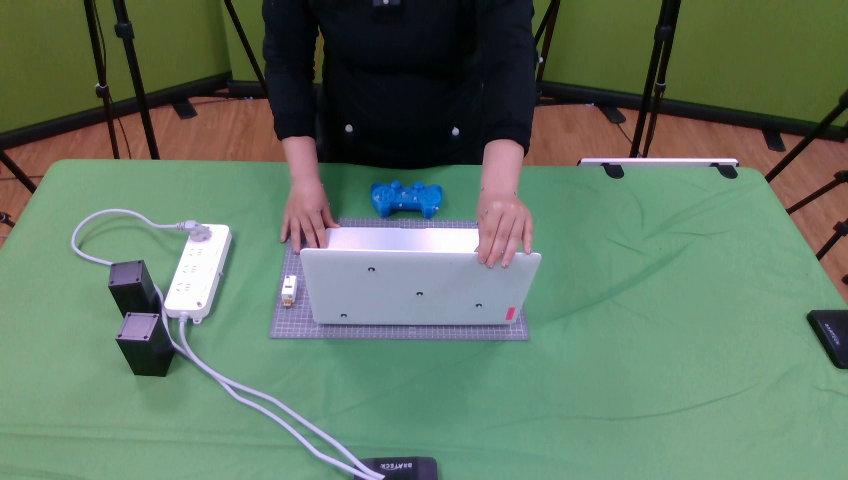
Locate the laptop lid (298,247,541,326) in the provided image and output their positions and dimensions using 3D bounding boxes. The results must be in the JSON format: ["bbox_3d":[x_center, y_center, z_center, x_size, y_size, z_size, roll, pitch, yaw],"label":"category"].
[{"bbox_3d":[-0.010,0.080,0.956,0.357,0.243,0.013,2,55,-5],"label":"laptop lid"}]

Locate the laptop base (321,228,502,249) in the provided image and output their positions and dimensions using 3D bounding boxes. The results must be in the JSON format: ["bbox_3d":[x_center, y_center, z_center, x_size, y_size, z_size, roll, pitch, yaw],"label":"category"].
[{"bbox_3d":[-0.021,0.064,1.135,0.355,0.023,0.234,1,42,-4],"label":"laptop base"}]

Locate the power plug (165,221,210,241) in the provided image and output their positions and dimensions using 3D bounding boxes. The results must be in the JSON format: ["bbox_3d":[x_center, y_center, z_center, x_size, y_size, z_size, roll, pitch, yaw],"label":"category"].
[{"bbox_3d":[-0.440,-0.015,1.143,0.072,0.053,0.035,7,46,8],"label":"power plug"}]

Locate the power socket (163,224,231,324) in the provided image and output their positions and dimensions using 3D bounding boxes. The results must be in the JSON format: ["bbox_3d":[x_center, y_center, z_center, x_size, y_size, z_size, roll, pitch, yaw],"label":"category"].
[{"bbox_3d":[-0.411,0.052,1.106,0.072,0.033,0.225,3,46,-3],"label":"power socket"}]

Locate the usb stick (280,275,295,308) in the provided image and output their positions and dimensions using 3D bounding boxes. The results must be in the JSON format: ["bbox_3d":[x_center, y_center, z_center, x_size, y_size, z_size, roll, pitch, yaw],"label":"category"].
[{"bbox_3d":[-0.244,0.093,1.080,0.021,0.027,0.059,3,48,-6],"label":"usb stick"}]

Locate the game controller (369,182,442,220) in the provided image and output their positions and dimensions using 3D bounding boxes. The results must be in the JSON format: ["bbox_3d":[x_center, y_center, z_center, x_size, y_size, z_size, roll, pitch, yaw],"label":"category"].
[{"bbox_3d":[-0.039,-0.091,1.267,0.155,0.052,0.096,1,50,-2],"label":"game controller"}]
